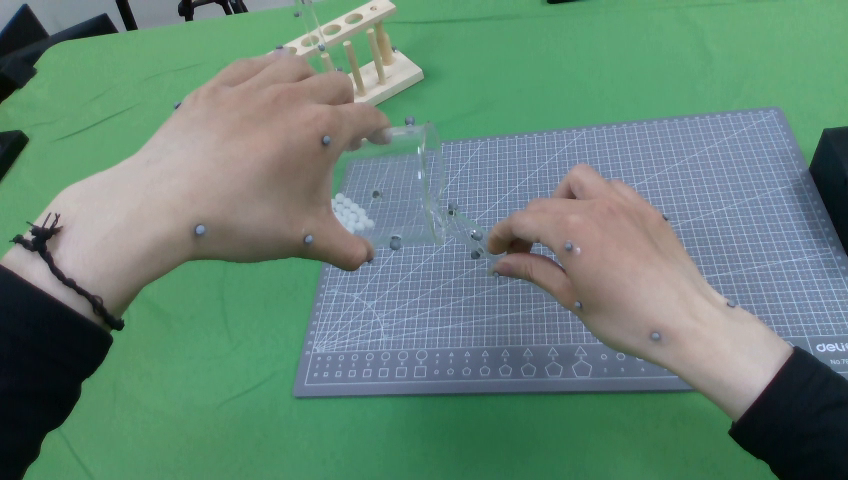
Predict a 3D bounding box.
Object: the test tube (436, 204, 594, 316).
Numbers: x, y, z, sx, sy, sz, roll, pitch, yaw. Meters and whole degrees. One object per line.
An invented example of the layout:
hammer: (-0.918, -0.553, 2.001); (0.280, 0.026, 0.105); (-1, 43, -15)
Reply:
test tube: (0.068, 0.018, 0.421); (0.017, 0.151, 0.017); (-39, 33, 32)

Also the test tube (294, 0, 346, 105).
test tube: (-0.114, -0.212, 0.666); (0.017, 0.152, 0.017); (-7, 49, 9)

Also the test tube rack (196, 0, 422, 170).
test tube rack: (-0.128, -0.187, 0.707); (0.242, 0.086, 0.066); (-32, 51, -12)

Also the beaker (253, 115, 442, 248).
beaker: (-0.042, -0.032, 0.366); (0.100, 0.084, 0.073); (-3, 79, 10)
